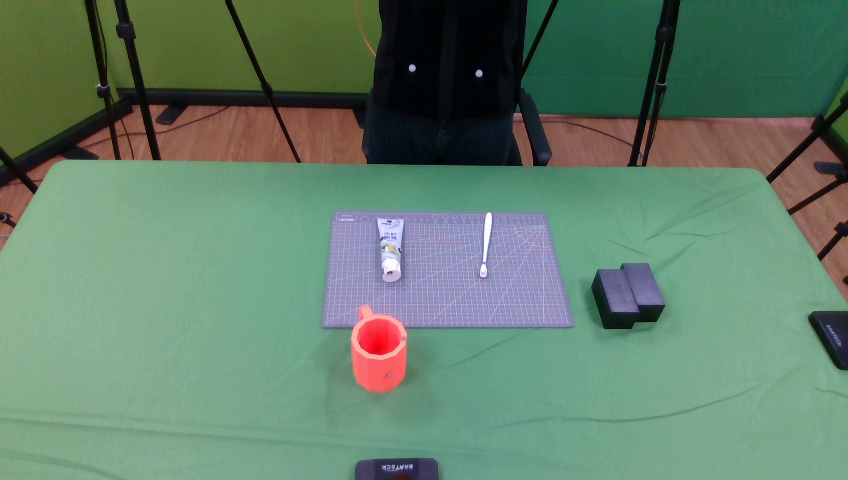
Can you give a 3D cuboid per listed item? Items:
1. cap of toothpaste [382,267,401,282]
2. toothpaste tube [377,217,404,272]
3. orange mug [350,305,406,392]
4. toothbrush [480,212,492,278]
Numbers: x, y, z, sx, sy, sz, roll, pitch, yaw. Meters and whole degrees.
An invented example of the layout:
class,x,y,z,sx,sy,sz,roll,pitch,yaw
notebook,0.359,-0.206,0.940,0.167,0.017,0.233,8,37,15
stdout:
class,x,y,z,sx,sy,sz,roll,pitch,yaw
cap of toothpaste,-0.060,0.063,1.118,0.037,0.037,0.011,-9,50,-12
toothpaste tube,-0.063,0.008,1.179,0.055,0.034,0.164,5,42,-9
orange mug,-0.080,0.168,0.978,0.083,0.101,0.125,-16,54,-18
toothbrush,0.124,0.004,1.202,0.014,0.017,0.181,-1,44,12
